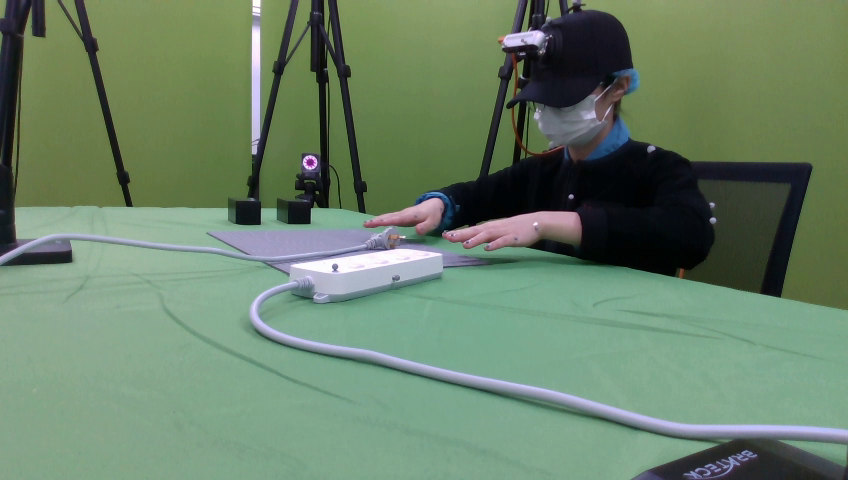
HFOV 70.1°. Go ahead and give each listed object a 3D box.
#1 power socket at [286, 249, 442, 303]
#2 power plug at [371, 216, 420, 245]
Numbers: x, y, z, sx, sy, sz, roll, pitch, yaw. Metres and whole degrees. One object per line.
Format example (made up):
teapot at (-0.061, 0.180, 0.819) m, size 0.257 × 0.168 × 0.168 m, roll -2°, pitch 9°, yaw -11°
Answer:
power socket at (-0.059, 0.035, 0.688) m, size 0.072 × 0.032 × 0.228 m, roll 6°, pitch 8°, yaw 33°
power plug at (-0.049, -0.024, 0.959) m, size 0.053 × 0.072 × 0.035 m, roll 37°, pitch -2°, yaw -37°
